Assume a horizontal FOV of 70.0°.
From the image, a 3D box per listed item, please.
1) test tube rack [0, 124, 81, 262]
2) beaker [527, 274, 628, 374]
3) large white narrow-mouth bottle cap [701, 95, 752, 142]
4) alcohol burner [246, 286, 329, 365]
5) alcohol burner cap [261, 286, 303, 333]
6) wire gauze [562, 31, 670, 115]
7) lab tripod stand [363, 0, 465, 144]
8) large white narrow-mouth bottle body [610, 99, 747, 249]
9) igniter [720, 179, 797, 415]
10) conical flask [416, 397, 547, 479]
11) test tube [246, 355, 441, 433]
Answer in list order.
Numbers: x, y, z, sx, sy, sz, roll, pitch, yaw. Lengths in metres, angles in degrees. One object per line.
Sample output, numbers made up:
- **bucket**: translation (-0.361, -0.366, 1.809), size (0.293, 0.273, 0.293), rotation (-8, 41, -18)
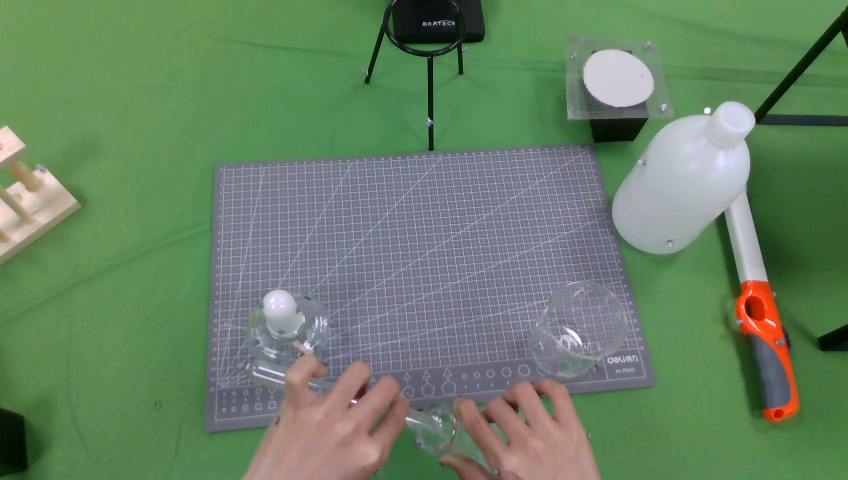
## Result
- **test tube rack**: translation (-0.480, 0.000, 0.595), size (0.066, 0.086, 0.242), rotation (41, 69, 14)
- **beaker**: translation (0.141, 0.087, 0.589), size (0.084, 0.101, 0.073), rotation (-7, 65, -6)
- **large white narrow-mouth bottle cap**: translation (0.270, -0.109, 0.543), size (0.038, 0.024, 0.037), rotation (1, 65, -3)
- **alcohol burner**: translation (-0.129, 0.074, 0.568), size (0.078, 0.120, 0.077), rotation (2, 64, -5)
- **alcohol burner cap**: translation (-0.127, 0.060, 0.535), size (0.034, 0.048, 0.033), rotation (1, 60, -1)
- **wire gauze**: translation (0.226, -0.199, 0.724), size (0.121, 0.011, 0.124), rotation (3, 65, -3)
- **lab tripod stand**: translation (-0.003, -0.206, 0.696), size (0.148, 0.132, 0.147), rotation (2, 66, -5)
- **large white narrow-mouth bottle body**: translation (0.266, -0.072, 0.621), size (0.102, 0.196, 0.101), rotation (1, 65, -2)
- **igniter**: translation (0.360, 0.051, 0.664), size (0.057, 0.025, 0.274), rotation (7, 65, -13)
- **conical flask**: translation (0.044, 0.160, 0.499), size (0.075, 0.123, 0.074), rotation (-19, 56, 31)
- **test tube**: translation (-0.056, 0.113, 0.439), size (0.151, 0.017, 0.017), rotation (23, 64, -17)
